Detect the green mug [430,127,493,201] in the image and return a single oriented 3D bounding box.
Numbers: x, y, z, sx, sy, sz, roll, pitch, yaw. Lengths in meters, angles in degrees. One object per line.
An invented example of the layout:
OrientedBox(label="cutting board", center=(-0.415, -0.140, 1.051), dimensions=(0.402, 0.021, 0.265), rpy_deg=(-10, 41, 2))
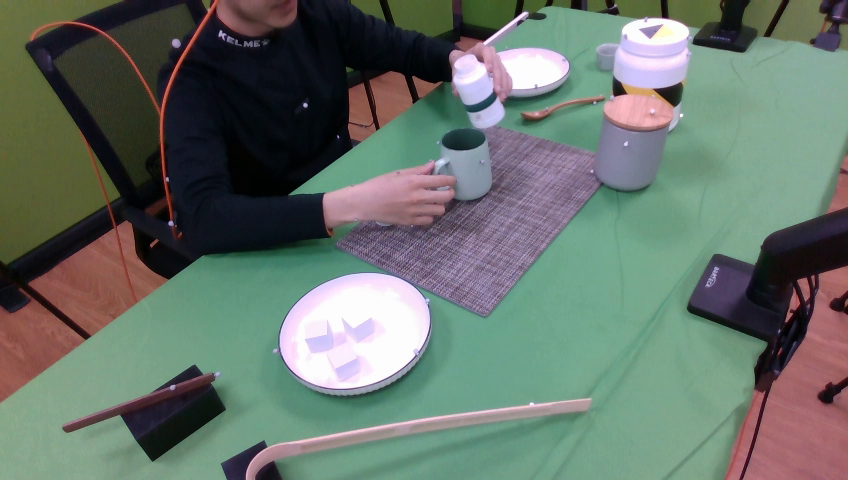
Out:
OrientedBox(label="green mug", center=(0.059, -0.122, 1.034), dimensions=(0.126, 0.105, 0.092), rpy_deg=(-35, 48, -28))

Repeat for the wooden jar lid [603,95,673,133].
OrientedBox(label="wooden jar lid", center=(0.343, -0.200, 0.974), dimensions=(0.108, 0.021, 0.108), rpy_deg=(-2, 39, 2))

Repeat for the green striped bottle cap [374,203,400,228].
OrientedBox(label="green striped bottle cap", center=(-0.063, -0.042, 1.030), dimensions=(0.044, 0.020, 0.044), rpy_deg=(-2, 45, 2))

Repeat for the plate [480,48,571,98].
OrientedBox(label="plate", center=(0.223, -0.371, 1.357), dimensions=(0.209, 0.038, 0.208), rpy_deg=(-4, 41, 4))

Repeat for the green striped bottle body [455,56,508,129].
OrientedBox(label="green striped bottle body", center=(0.097, -0.258, 1.050), dimensions=(0.063, 0.120, 0.063), rpy_deg=(-20, 39, 17))

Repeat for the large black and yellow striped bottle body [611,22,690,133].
OrientedBox(label="large black and yellow striped bottle body", center=(0.420, -0.300, 1.132), dimensions=(0.131, 0.185, 0.130), rpy_deg=(-4, 41, 4))

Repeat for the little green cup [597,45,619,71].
OrientedBox(label="little green cup", center=(0.423, -0.413, 1.376), dimensions=(0.061, 0.039, 0.061), rpy_deg=(-4, 41, 4))

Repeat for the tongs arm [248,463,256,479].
OrientedBox(label="tongs arm", center=(0.012, 0.262, 0.615), dimensions=(0.385, 0.026, 0.050), rpy_deg=(2, 42, -2))

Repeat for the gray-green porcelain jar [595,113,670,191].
OrientedBox(label="gray-green porcelain jar", center=(0.346, -0.155, 1.017), dimensions=(0.106, 0.127, 0.105), rpy_deg=(-2, 44, 2))

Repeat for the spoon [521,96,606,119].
OrientedBox(label="spoon", center=(0.291, -0.277, 1.249), dimensions=(0.194, 0.022, 0.041), rpy_deg=(-18, 23, -12))

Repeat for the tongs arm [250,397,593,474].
OrientedBox(label="tongs arm", center=(0.008, 0.212, 0.675), dimensions=(0.389, 0.028, 0.028), rpy_deg=(-5, 46, -11))

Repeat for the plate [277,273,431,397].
OrientedBox(label="plate", center=(-0.091, 0.129, 0.821), dimensions=(0.207, 0.039, 0.206), rpy_deg=(-4, 40, 4))

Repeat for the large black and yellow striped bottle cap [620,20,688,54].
OrientedBox(label="large black and yellow striped bottle cap", center=(0.411, -0.363, 1.079), dimensions=(0.115, 0.019, 0.114), rpy_deg=(-3, 42, 4))

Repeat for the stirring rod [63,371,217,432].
OrientedBox(label="stirring rod", center=(-0.337, 0.192, 0.723), dimensions=(0.177, 0.014, 0.005), rpy_deg=(-18, 42, -12))
